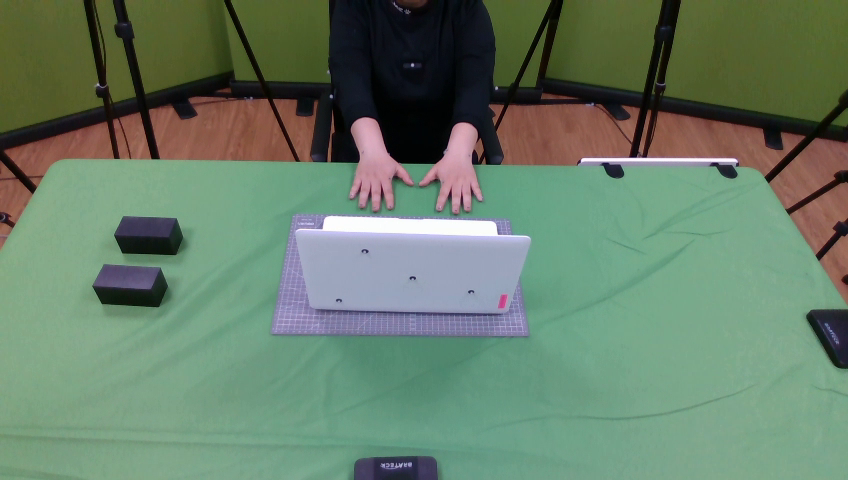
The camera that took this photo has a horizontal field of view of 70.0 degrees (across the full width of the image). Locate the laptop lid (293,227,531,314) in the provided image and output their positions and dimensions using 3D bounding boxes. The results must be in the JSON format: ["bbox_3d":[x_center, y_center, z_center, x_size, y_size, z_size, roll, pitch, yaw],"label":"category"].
[{"bbox_3d":[-0.021,0.057,0.976,0.357,0.243,0.013,2,53,-4],"label":"laptop lid"}]

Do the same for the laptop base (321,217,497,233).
[{"bbox_3d":[-0.028,0.044,1.154,0.354,0.023,0.234,2,42,-3],"label":"laptop base"}]
